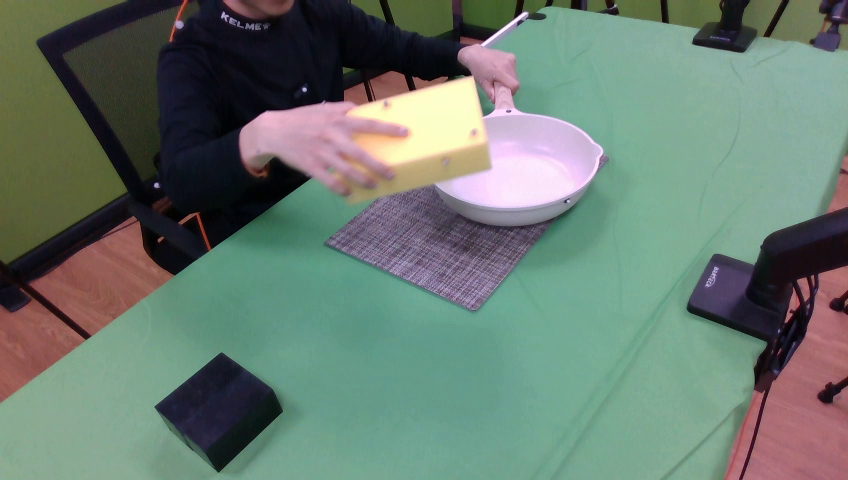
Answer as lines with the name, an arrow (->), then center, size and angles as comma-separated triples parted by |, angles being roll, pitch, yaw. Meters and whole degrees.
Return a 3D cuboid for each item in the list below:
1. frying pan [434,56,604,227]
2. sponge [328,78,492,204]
frying pan -> 0.155, -0.199, 1.111 | 0.307, 0.103, 0.485 | -2, 49, 5
sponge -> -0.021, -0.132, 0.817 | 0.207, 0.061, 0.117 | -13, 58, 6
